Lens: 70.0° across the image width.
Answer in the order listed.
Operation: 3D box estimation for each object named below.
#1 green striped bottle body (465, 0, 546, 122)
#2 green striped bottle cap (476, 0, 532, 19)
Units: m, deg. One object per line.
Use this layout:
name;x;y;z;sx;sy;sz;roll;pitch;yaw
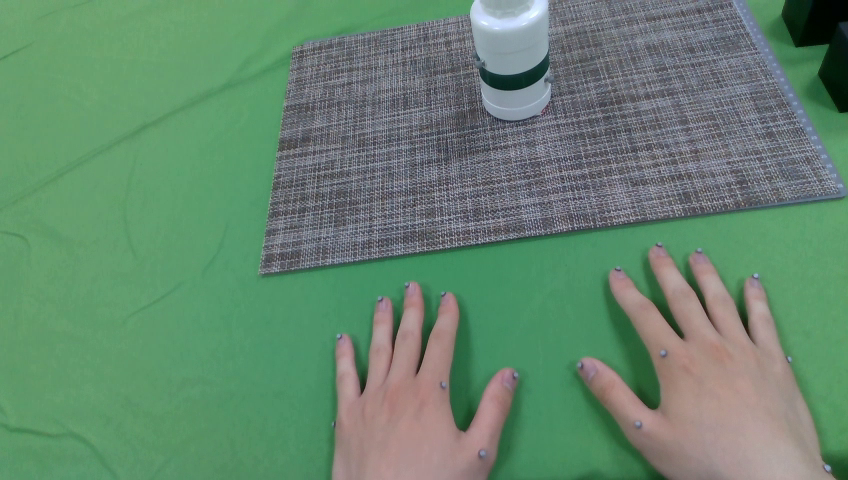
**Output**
green striped bottle body;0.070;-0.164;0.513;0.063;0.120;0.062;-6;54;9
green striped bottle cap;0.062;-0.193;0.471;0.044;0.020;0.044;-7;55;11
